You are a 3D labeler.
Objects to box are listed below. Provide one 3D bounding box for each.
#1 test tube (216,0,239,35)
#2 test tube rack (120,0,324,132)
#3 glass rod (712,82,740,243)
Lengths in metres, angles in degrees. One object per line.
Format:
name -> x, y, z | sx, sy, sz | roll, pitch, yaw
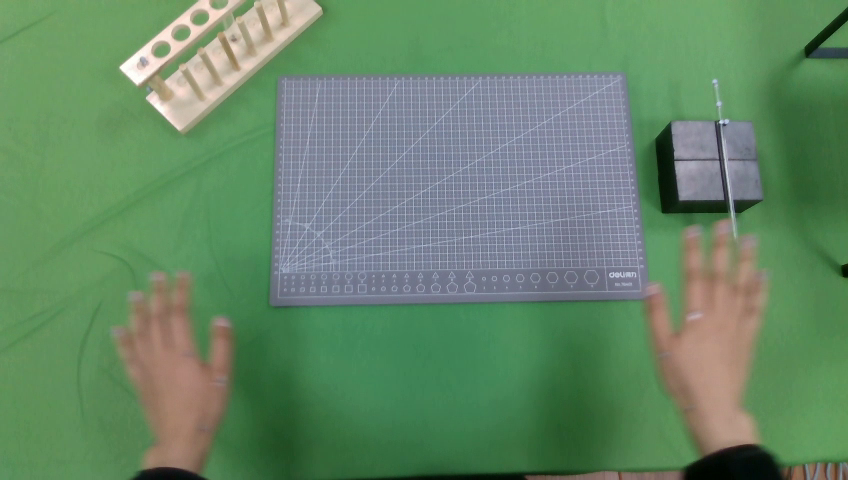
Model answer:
test tube -> -0.236, -0.288, 0.702 | 0.017, 0.151, 0.017 | 2, 72, -4
test tube rack -> -0.239, -0.251, 0.743 | 0.066, 0.085, 0.242 | 43, 79, 9
glass rod -> 0.354, -0.094, 0.710 | 0.008, 0.008, 0.198 | -1, 76, -1
